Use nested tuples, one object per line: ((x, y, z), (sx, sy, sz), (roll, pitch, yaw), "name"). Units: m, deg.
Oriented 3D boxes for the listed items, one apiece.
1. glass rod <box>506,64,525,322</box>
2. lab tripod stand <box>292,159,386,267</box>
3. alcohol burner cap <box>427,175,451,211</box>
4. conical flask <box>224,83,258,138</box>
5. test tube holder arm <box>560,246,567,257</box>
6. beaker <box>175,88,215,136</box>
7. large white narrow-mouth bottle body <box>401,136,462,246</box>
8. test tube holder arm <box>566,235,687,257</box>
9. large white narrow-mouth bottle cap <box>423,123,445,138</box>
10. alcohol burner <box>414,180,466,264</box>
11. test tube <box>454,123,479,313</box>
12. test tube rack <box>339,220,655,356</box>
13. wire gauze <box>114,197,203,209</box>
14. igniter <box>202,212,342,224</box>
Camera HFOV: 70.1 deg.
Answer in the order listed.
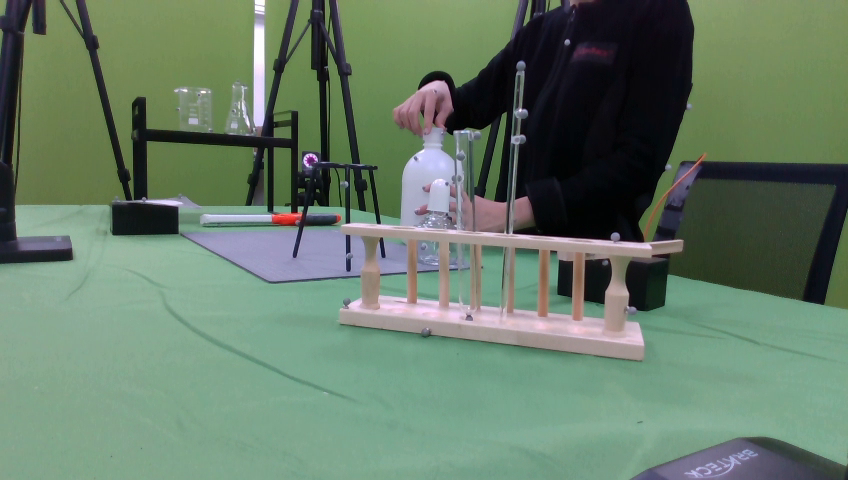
((0.069, -0.030, 0.458), (0.008, 0.199, 0.008), (0, 15, 0), "glass rod")
((-0.105, -0.039, 0.798), (0.148, 0.131, 0.148), (2, 5, 0), "lab tripod stand")
((0.023, -0.064, 0.822), (0.034, 0.048, 0.034), (7, 5, 0), "alcohol burner cap")
((-0.422, -0.299, 1.395), (0.075, 0.122, 0.075), (2, 7, 0), "conical flask")
((0.173, 0.007, 0.611), (0.088, 0.015, 0.010), (-3, 9, -30), "test tube holder arm")
((-0.511, -0.285, 1.353), (0.084, 0.100, 0.073), (-2, 8, -25), "beaker")
((0.014, -0.092, 1.030), (0.102, 0.194, 0.102), (2, 8, 0), "large white narrow-mouth bottle body")
((0.215, 0.006, 0.630), (0.179, 0.015, 0.013), (-3, 9, -31), "test tube holder arm")
((0.016, -0.184, 1.016), (0.038, 0.024, 0.037), (2, 8, 0), "large white narrow-mouth bottle cap")
((0.021, -0.028, 0.826), (0.078, 0.119, 0.078), (0, 6, 0), "alcohol burner")
((0.034, -0.016, 0.477), (0.017, 0.150, 0.017), (-2, 9, 1), "test tube")
((0.056, 0.032, 0.495), (0.242, 0.085, 0.067), (4, 7, 15), "test tube rack")
((-0.447, -0.062, 1.015), (0.126, 0.011, 0.121), (-2, 8, -31), "wire gauze")
((-0.298, -0.044, 1.216), (0.278, 0.025, 0.057), (-2, -2, -33), "igniter")
